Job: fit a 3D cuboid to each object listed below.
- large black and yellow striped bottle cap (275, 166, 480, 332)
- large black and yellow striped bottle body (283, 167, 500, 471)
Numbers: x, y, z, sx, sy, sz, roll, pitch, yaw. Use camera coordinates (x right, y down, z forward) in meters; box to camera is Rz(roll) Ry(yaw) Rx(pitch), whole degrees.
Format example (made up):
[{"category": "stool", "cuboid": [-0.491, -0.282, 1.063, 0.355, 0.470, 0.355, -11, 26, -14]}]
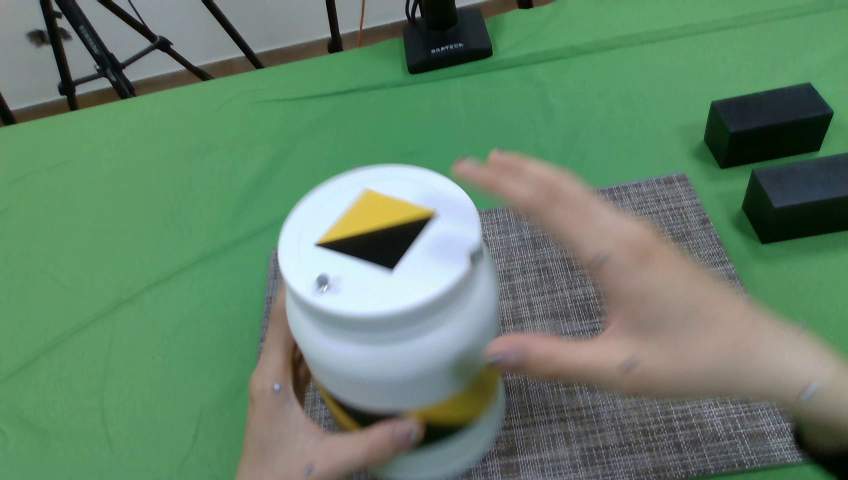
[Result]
[{"category": "large black and yellow striped bottle cap", "cuboid": [-0.026, 0.000, 0.340, 0.115, 0.019, 0.114, -4, 46, 4]}, {"category": "large black and yellow striped bottle body", "cuboid": [-0.016, 0.056, 0.401, 0.131, 0.186, 0.129, -4, 47, 5]}]
